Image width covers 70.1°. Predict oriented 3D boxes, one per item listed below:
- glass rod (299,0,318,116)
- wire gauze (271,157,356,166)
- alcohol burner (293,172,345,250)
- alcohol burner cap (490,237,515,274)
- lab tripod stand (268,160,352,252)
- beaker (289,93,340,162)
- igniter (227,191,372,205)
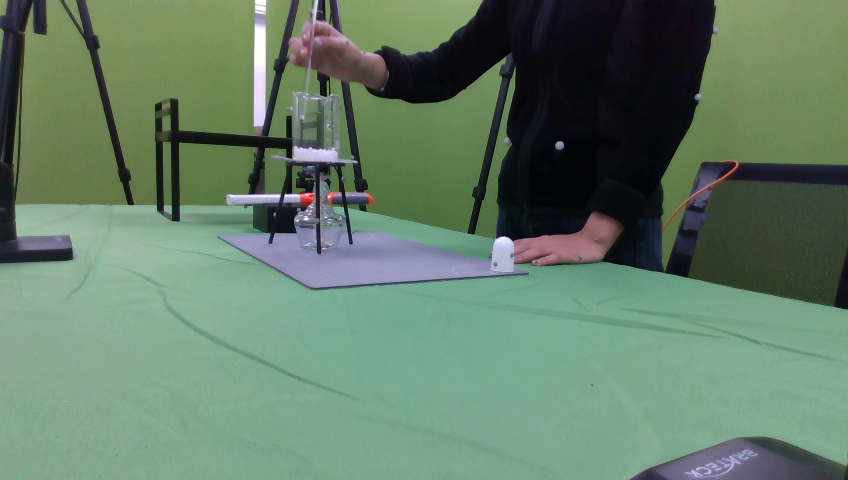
[{"bbox_3d":[-0.174,-0.280,0.909,0.008,0.199,0.008,5,-9,1],"label":"glass rod"},{"bbox_3d":[-0.166,-0.120,0.917,0.125,0.011,0.121,-2,6,-9],"label":"wire gauze"},{"bbox_3d":[-0.159,-0.044,0.921,0.078,0.119,0.078,5,7,0],"label":"alcohol burner"},{"bbox_3d":[0.104,0.020,0.793,0.034,0.048,0.034,2,6,0],"label":"alcohol burner cap"},{"bbox_3d":[-0.171,-0.055,0.921,0.148,0.131,0.148,1,9,0],"label":"lab tripod stand"},{"bbox_3d":[-0.162,-0.167,0.908,0.074,0.100,0.083,-4,10,-31],"label":"beaker"},{"bbox_3d":[-0.232,-0.080,1.161,0.278,0.025,0.057,-3,12,-28],"label":"igniter"}]
